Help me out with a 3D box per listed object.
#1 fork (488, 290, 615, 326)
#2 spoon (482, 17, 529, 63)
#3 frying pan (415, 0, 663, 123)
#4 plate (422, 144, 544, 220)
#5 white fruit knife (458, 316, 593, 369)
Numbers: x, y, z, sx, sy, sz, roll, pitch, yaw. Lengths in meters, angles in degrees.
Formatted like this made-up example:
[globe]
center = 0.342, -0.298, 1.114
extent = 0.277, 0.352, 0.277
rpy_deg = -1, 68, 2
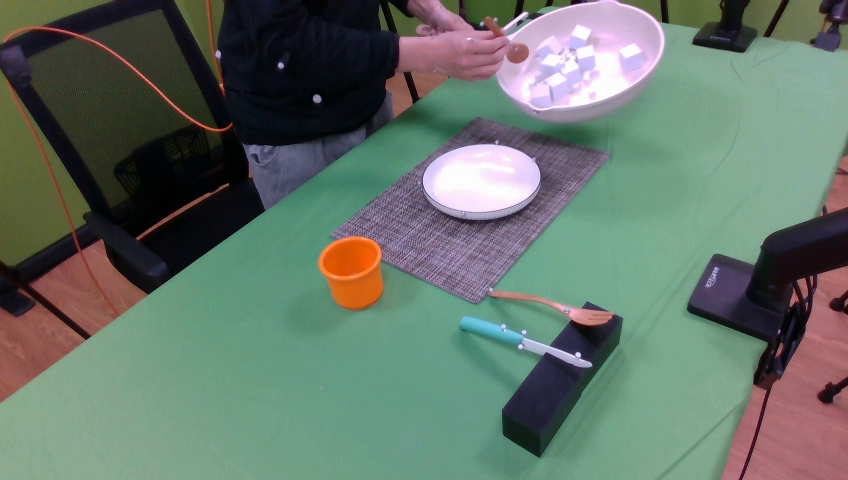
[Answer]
[fork]
center = 0.160, 0.086, 0.801
extent = 0.205, 0.019, 0.028
rpy_deg = 12, 47, 48
[spoon]
center = 0.138, -0.337, 1.023
extent = 0.041, 0.195, 0.021
rpy_deg = -28, 79, 21
[frying pan]
center = 0.191, -0.353, 1.137
extent = 0.484, 0.103, 0.307
rpy_deg = 23, 63, 25
[plate]
center = 0.102, -0.097, 1.048
extent = 0.207, 0.039, 0.206
rpy_deg = -4, 40, 4
[white fruit knife]
center = 0.120, 0.127, 0.757
extent = 0.205, 0.027, 0.016
rpy_deg = 12, 44, 43
